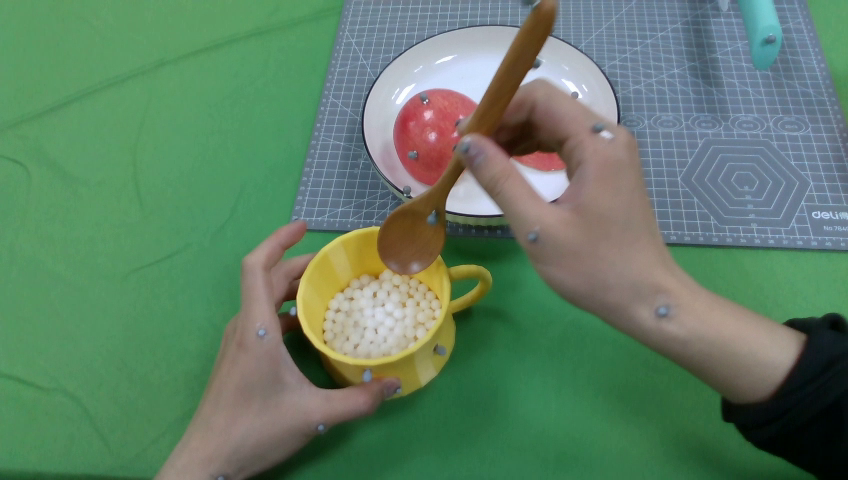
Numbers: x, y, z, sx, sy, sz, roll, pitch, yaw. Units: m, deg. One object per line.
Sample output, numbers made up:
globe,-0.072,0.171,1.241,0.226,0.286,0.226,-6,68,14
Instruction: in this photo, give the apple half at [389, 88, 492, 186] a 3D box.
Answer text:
apple half,0.011,-0.090,0.485,0.081,0.054,0.074,-36,60,-15

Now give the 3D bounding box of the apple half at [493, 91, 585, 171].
apple half,0.093,-0.097,0.492,0.081,0.033,0.080,-2,62,4

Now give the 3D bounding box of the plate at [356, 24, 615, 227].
plate,0.049,-0.095,0.503,0.209,0.038,0.207,-2,59,4

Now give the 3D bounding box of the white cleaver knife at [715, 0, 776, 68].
white cleaver knife,0.282,-0.255,0.561,0.021,0.066,0.284,0,55,11

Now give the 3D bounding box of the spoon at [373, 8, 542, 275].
spoon,0.014,-0.038,0.324,0.042,0.194,0.021,26,51,-5

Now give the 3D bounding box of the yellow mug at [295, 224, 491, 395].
yellow mug,-0.016,0.044,0.413,0.131,0.064,0.099,-16,61,-8
